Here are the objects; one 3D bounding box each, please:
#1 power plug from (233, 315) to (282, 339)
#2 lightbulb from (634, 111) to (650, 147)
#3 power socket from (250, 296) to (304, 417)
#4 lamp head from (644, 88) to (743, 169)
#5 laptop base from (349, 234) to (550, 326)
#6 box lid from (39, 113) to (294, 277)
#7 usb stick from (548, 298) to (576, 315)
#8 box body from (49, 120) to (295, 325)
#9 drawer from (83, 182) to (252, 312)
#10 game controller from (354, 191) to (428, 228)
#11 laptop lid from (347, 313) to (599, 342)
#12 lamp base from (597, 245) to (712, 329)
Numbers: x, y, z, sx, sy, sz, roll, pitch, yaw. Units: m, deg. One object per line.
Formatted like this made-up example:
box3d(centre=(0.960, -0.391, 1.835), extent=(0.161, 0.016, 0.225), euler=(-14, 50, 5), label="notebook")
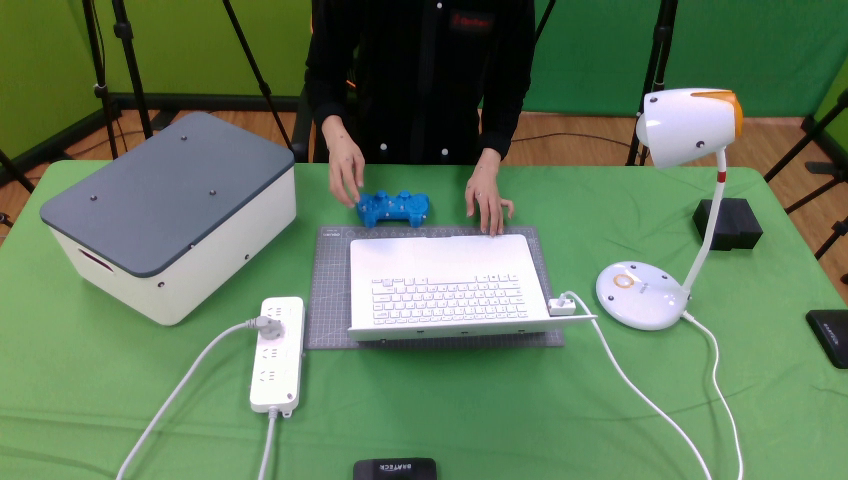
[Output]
box3d(centre=(-0.271, 0.144, 0.999), extent=(0.072, 0.053, 0.035), euler=(6, 47, 3), label="power plug")
box3d(centre=(0.348, -0.163, 0.852), extent=(0.059, 0.060, 0.107), euler=(-36, 19, -32), label="lightbulb")
box3d(centre=(-0.239, 0.182, 0.996), extent=(0.072, 0.033, 0.225), euler=(-2, 47, -5), label="power socket")
box3d(centre=(0.380, -0.161, 0.851), extent=(0.122, 0.113, 0.112), euler=(-4, 42, 25), label="lamp head")
box3d(centre=(0.040, 0.080, 1.125), extent=(0.355, 0.023, 0.234), euler=(-2, 43, -6), label="laptop base")
box3d(centre=(-0.435, -0.096, 1.056), extent=(0.262, 0.015, 0.370), euler=(25, 48, 18), label="box lid")
box3d(centre=(0.240, 0.119, 1.086), extent=(0.059, 0.027, 0.021), euler=(-2, 52, -2), label="usb stick")
box3d(centre=(-0.437, -0.046, 1.110), extent=(0.253, 0.161, 0.363), euler=(24, 49, 19), label="box body")
box3d(centre=(-0.458, 0.007, 1.099), extent=(0.194, 0.073, 0.211), euler=(30, 49, 20), label="drawer")
box3d(centre=(-0.066, -0.071, 1.244), extent=(0.155, 0.052, 0.096), euler=(0, 47, -5), label="game controller")
box3d(centre=(0.062, 0.137, 0.932), extent=(0.357, 0.242, 0.013), euler=(-2, 77, -8), label="laptop lid")
box3d(centre=(0.418, 0.051, 1.071), extent=(0.179, 0.181, 0.160), euler=(22, 49, 13), label="lamp base")
